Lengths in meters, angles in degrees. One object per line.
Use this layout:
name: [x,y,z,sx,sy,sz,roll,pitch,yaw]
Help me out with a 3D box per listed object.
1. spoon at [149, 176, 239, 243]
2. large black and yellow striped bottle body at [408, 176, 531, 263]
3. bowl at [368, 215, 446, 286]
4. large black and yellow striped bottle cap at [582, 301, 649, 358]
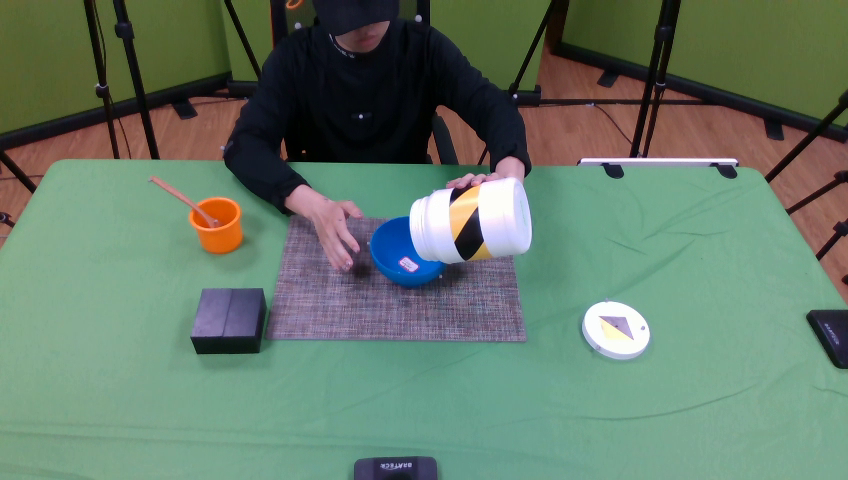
spoon: [-0.427,-0.057,1.132,0.021,0.194,0.041,-28,30,33]
large black and yellow striped bottle body: [0.077,-0.031,1.026,0.184,0.131,0.130,-9,42,22]
bowl: [-0.028,0.033,1.119,0.151,0.077,0.150,2,46,-2]
large black and yellow striped bottle cap: [0.340,0.157,1.077,0.115,0.019,0.114,1,47,-1]
